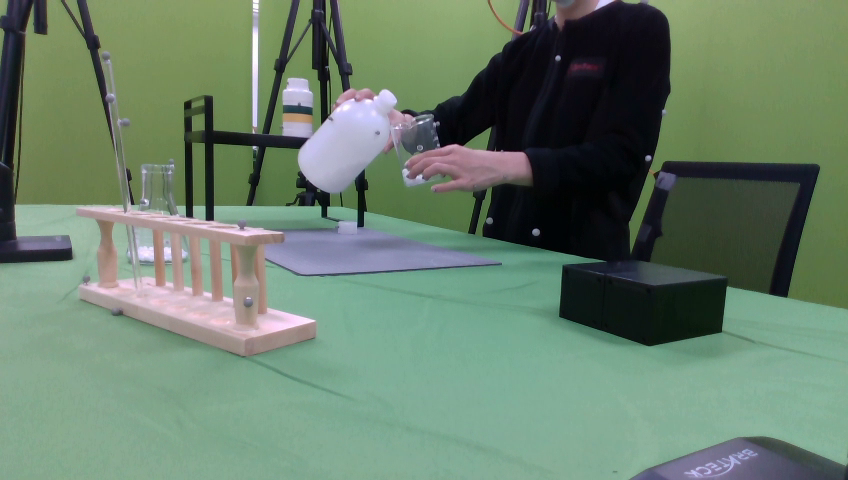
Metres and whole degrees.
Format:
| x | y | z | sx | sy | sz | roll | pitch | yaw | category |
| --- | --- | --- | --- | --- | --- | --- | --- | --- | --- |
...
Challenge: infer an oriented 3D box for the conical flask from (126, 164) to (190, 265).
| x | y | z | sx | sy | sz | roll | pitch | yaw | category |
| --- | --- | --- | --- | --- | --- | --- | --- | --- | --- |
| -0.332 | -0.033 | 0.756 | 0.075 | 0.122 | 0.075 | 2 | 7 | 0 | conical flask |

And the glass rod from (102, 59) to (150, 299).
| x | y | z | sx | sy | sz | roll | pitch | yaw | category |
| --- | --- | --- | --- | --- | --- | --- | --- | --- | --- |
| -0.243 | -0.045 | 0.496 | 0.008 | 0.199 | 0.008 | -4 | 13 | 1 | glass rod |

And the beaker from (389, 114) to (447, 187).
| x | y | z | sx | sy | sz | roll | pitch | yaw | category |
| --- | --- | --- | --- | --- | --- | --- | --- | --- | --- |
| -0.008 | -0.137 | 0.939 | 0.074 | 0.100 | 0.084 | -14 | 5 | 8 | beaker |

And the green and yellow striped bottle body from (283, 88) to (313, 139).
| x | y | z | sx | sy | sz | roll | pitch | yaw | category |
| --- | --- | --- | --- | --- | --- | --- | --- | --- | --- |
| -0.266 | -0.275 | 1.275 | 0.063 | 0.119 | 0.063 | 3 | 7 | 0 | green and yellow striped bottle body |

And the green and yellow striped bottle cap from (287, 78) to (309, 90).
| x | y | z | sx | sy | sz | roll | pitch | yaw | category |
| --- | --- | --- | --- | --- | --- | --- | --- | --- | --- |
| -0.265 | -0.326 | 1.268 | 0.045 | 0.020 | 0.045 | 4 | 6 | 0 | green and yellow striped bottle cap |

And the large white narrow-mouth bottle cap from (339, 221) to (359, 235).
| x | y | z | sx | sy | sz | roll | pitch | yaw | category |
| --- | --- | --- | --- | --- | --- | --- | --- | --- | --- |
| -0.139 | -0.023 | 1.127 | 0.038 | 0.024 | 0.037 | 4 | 8 | 0 | large white narrow-mouth bottle cap |

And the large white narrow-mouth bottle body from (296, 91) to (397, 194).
| x | y | z | sx | sy | sz | roll | pitch | yaw | category |
| --- | --- | --- | --- | --- | --- | --- | --- | --- | --- |
| -0.118 | -0.170 | 0.998 | 0.194 | 0.101 | 0.102 | -41 | -12 | 24 | large white narrow-mouth bottle body |

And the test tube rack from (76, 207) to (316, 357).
| x | y | z | sx | sy | sz | roll | pitch | yaw | category |
| --- | --- | --- | --- | --- | --- | --- | --- | --- | --- |
| -0.196 | 0.023 | 0.499 | 0.241 | 0.085 | 0.067 | 8 | 9 | 36 | test tube rack |
